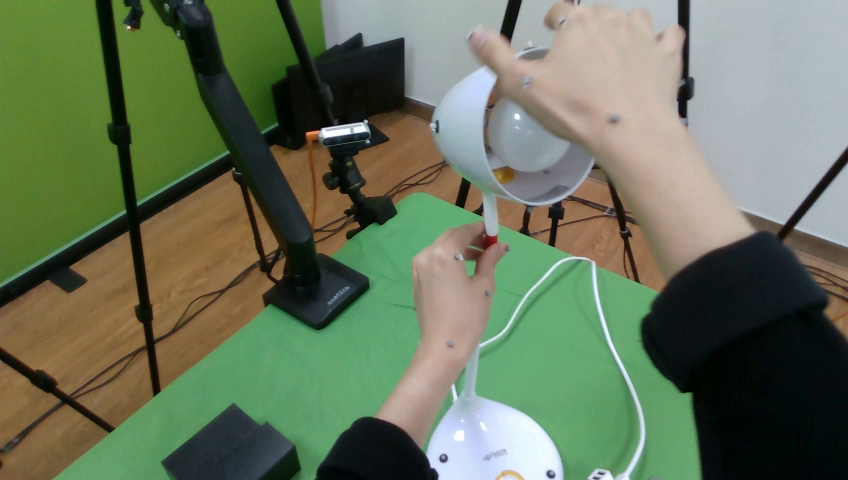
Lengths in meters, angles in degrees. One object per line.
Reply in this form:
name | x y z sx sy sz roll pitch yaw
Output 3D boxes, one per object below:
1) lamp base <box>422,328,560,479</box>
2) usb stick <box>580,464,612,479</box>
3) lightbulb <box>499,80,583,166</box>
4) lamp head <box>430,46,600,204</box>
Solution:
lamp base | 0.070 0.195 0.666 0.161 0.182 0.177 -22 43 -24
usb stick | 0.198 0.280 0.669 0.027 0.059 0.021 -27 5 -33
lightbulb | 0.086 -0.095 0.455 0.059 0.060 0.107 4 29 4
lamp head | 0.060 -0.086 0.482 0.112 0.113 0.122 -23 15 -24
